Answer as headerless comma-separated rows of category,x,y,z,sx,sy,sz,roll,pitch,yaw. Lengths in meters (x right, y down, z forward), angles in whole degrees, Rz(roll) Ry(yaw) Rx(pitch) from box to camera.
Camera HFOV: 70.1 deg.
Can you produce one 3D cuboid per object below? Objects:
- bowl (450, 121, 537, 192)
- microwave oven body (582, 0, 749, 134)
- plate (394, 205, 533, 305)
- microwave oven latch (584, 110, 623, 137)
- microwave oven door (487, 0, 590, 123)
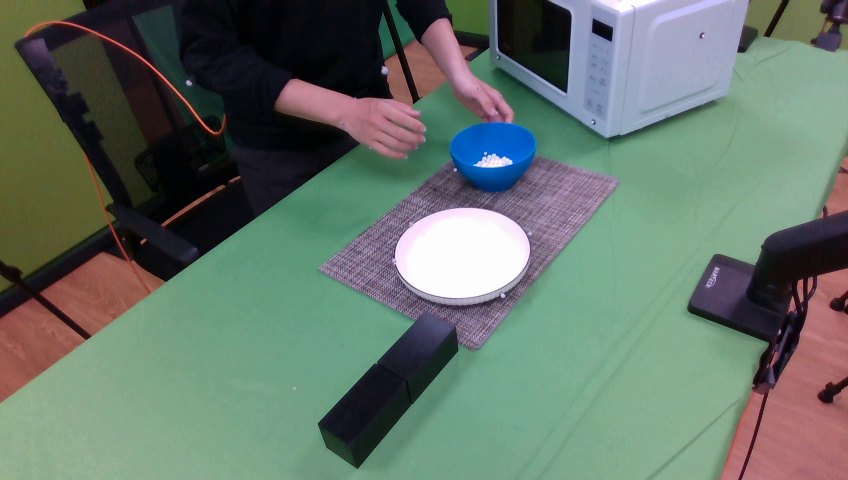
bowl,0.123,-0.138,1.064,0.151,0.077,0.150,-4,40,4
microwave oven body,0.382,-0.444,1.246,0.327,0.261,0.437,-22,42,-16
plate,0.059,0.025,0.915,0.207,0.039,0.206,-4,41,4
microwave oven latch,0.337,-0.222,1.142,0.030,0.029,0.078,-21,42,-14
microwave oven door,0.232,-0.420,1.231,0.039,0.245,0.352,-22,43,-16
